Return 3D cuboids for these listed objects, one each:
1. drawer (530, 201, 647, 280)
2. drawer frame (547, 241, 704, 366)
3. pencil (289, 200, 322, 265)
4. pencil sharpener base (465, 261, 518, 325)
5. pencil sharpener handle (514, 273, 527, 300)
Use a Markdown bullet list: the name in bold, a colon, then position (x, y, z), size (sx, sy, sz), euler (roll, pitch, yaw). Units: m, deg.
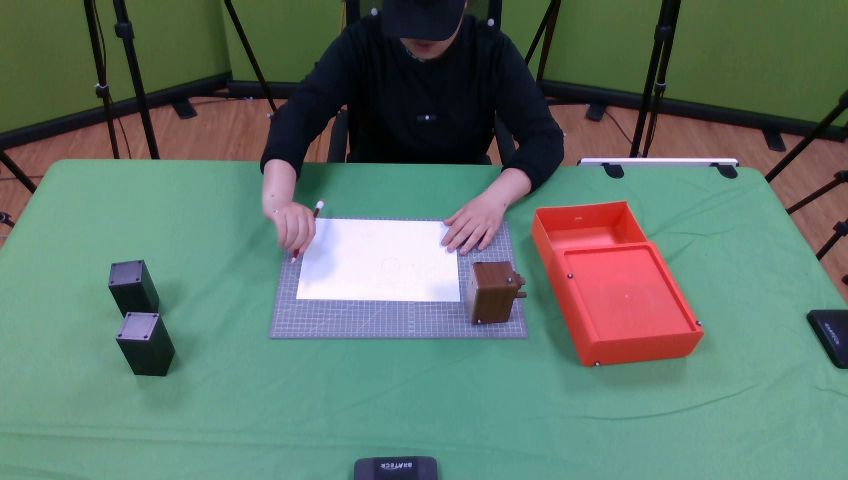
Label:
- **drawer**: position (0.328, 0.024, 1.159), size (0.195, 0.073, 0.210), euler (-4, 46, -9)
- **drawer frame**: position (0.348, 0.106, 1.077), size (0.202, 0.083, 0.212), euler (-4, 47, -9)
- **pencil**: position (-0.226, -0.017, 1.152), size (0.012, 0.012, 0.193), euler (9, 41, 4)
- **pencil sharpener base**: position (0.117, 0.093, 1.052), size (0.077, 0.107, 0.061), euler (-3, 46, -7)
- **pencil sharpener handle**: position (0.169, 0.081, 1.051), size (0.031, 0.068, 0.035), euler (-3, 49, -7)
